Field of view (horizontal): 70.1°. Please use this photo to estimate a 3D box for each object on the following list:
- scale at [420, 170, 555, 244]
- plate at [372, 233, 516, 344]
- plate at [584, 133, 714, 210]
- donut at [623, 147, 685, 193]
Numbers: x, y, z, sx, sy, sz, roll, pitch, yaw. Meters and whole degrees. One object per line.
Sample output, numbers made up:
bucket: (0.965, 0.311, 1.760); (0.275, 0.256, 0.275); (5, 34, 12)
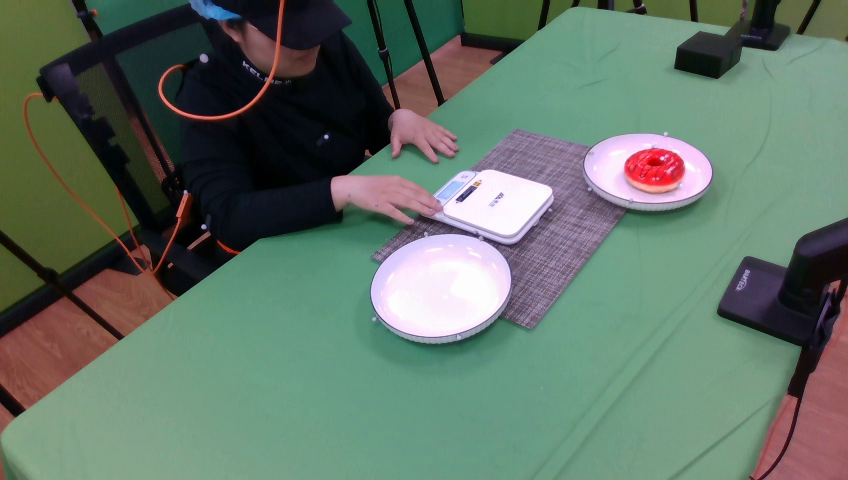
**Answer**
scale: (0.106, -0.064, 1.029); (0.199, 0.032, 0.149); (21, 48, 32)
plate: (0.030, 0.072, 0.879); (0.207, 0.039, 0.206); (-6, 42, 6)
plate: (0.379, -0.113, 1.030); (0.209, 0.038, 0.208); (-4, 41, 4)
donut: (0.388, -0.119, 1.019); (0.099, 0.048, 0.098); (-4, 42, 4)
